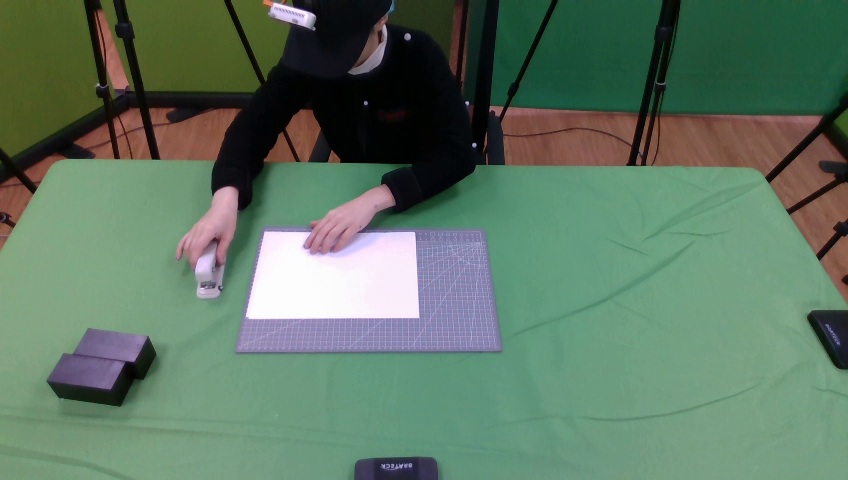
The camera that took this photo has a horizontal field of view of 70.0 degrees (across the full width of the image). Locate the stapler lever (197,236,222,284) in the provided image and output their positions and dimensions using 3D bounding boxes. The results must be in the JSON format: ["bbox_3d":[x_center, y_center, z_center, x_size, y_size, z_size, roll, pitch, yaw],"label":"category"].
[{"bbox_3d":[-0.389,0.030,1.102,0.027,0.040,0.117,0,44,-10],"label":"stapler lever"}]

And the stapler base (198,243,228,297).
[{"bbox_3d":[-0.391,0.049,1.118,0.041,0.024,0.129,0,44,-10],"label":"stapler base"}]
